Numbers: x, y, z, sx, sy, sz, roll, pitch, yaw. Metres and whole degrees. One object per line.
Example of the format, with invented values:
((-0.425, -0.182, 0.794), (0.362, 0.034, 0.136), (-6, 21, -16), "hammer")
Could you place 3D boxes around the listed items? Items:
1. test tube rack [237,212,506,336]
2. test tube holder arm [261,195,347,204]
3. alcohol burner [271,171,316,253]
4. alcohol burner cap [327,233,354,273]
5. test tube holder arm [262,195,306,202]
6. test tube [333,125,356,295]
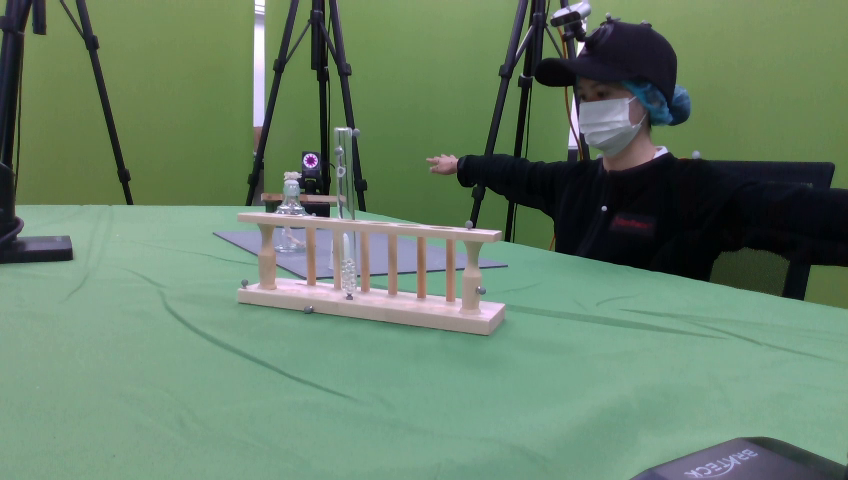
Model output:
((-0.049, 0.024, 0.552), (0.242, 0.085, 0.067), (5, 8, 19), "test tube rack")
((-0.242, -0.083, 1.231), (0.179, 0.015, 0.013), (-1, 7, -32), "test tube holder arm")
((-0.196, -0.041, 0.884), (0.078, 0.119, 0.078), (3, 5, 0), "alcohol burner")
((-0.104, 0.016, 0.752), (0.034, 0.048, 0.034), (3, 6, 0), "alcohol burner cap")
((-0.278, -0.082, 1.203), (0.088, 0.015, 0.010), (0, 7, -30), "test tube holder arm")
((-0.070, -0.025, 0.533), (0.017, 0.150, 0.017), (-1, 11, 0), "test tube")
